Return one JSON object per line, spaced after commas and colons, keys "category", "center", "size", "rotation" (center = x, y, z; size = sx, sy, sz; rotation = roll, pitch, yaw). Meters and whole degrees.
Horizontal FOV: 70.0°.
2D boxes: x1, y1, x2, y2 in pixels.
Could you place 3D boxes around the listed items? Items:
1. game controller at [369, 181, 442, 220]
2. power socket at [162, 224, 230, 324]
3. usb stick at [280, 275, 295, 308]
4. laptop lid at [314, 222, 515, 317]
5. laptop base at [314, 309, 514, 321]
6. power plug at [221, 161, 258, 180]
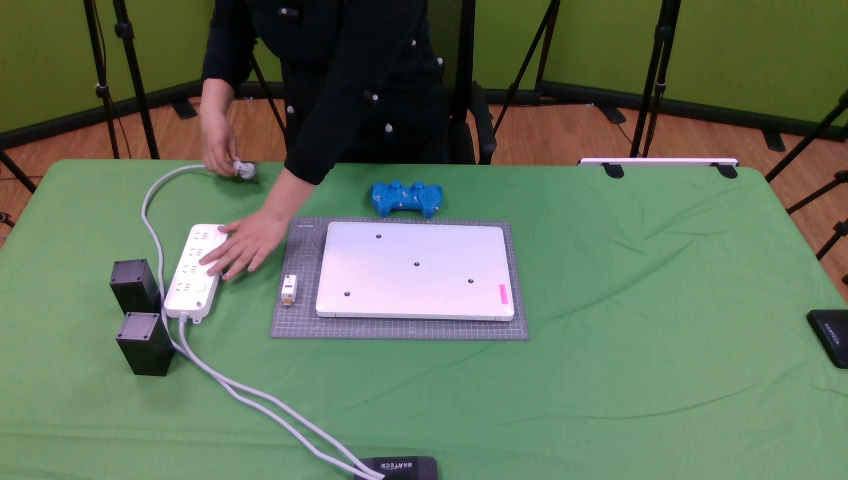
{"category": "game controller", "center": [-0.039, -0.092, 1.268], "size": [0.155, 0.052, 0.096], "rotation": [2, 50, -2]}
{"category": "power socket", "center": [-0.412, 0.052, 1.106], "size": [0.072, 0.033, 0.225], "rotation": [4, 46, -4]}
{"category": "usb stick", "center": [-0.244, 0.093, 1.081], "size": [0.021, 0.027, 0.059], "rotation": [3, 48, -5]}
{"category": "laptop lid", "center": [-0.016, 0.049, 1.134], "size": [0.357, 0.013, 0.240], "rotation": [3, 43, -2]}
{"category": "laptop base", "center": [-0.017, 0.059, 1.141], "size": [0.354, 0.023, 0.234], "rotation": [2, 42, -3]}
{"category": "power plug", "center": [-0.386, -0.151, 1.284], "size": [0.072, 0.053, 0.035], "rotation": [27, 82, 32]}
